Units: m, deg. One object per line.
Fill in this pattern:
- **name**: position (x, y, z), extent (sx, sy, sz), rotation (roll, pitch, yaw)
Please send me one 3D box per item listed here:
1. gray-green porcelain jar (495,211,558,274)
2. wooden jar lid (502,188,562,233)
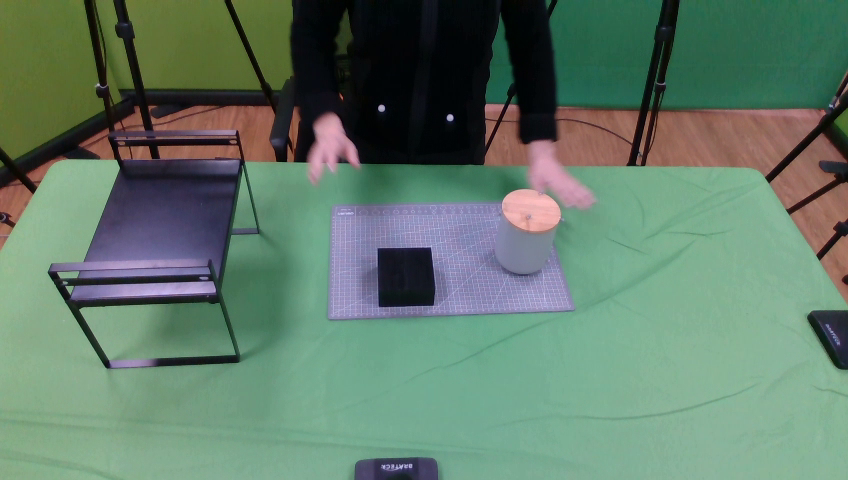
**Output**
- **gray-green porcelain jar**: position (0.191, -0.007, 1.140), extent (0.106, 0.127, 0.105), rotation (2, 47, -2)
- **wooden jar lid**: position (0.194, -0.050, 1.095), extent (0.108, 0.021, 0.107), rotation (4, 48, -4)
